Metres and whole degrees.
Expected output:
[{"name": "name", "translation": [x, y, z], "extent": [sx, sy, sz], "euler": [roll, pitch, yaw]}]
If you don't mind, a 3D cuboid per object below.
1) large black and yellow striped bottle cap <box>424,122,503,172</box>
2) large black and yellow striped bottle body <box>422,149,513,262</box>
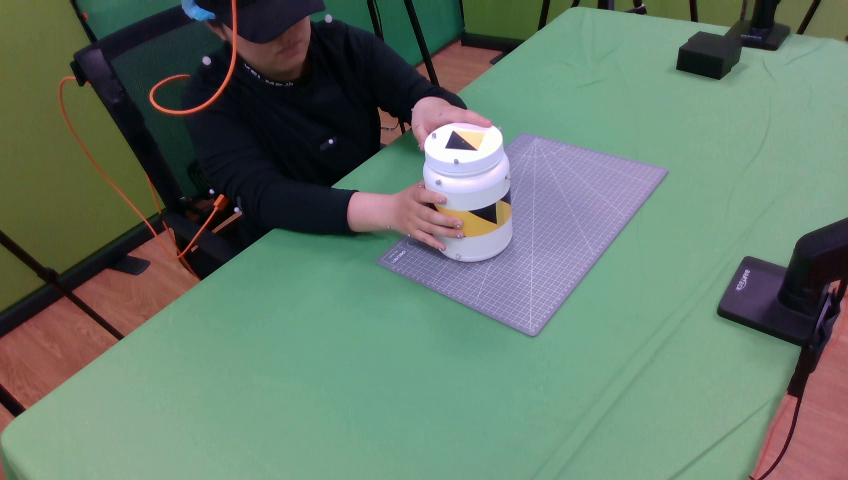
[{"name": "large black and yellow striped bottle cap", "translation": [0.057, -0.137, 0.872], "extent": [0.115, 0.019, 0.114], "euler": [-4, 40, 4]}, {"name": "large black and yellow striped bottle body", "translation": [0.068, -0.073, 0.926], "extent": [0.131, 0.185, 0.130], "euler": [-5, 40, 5]}]
